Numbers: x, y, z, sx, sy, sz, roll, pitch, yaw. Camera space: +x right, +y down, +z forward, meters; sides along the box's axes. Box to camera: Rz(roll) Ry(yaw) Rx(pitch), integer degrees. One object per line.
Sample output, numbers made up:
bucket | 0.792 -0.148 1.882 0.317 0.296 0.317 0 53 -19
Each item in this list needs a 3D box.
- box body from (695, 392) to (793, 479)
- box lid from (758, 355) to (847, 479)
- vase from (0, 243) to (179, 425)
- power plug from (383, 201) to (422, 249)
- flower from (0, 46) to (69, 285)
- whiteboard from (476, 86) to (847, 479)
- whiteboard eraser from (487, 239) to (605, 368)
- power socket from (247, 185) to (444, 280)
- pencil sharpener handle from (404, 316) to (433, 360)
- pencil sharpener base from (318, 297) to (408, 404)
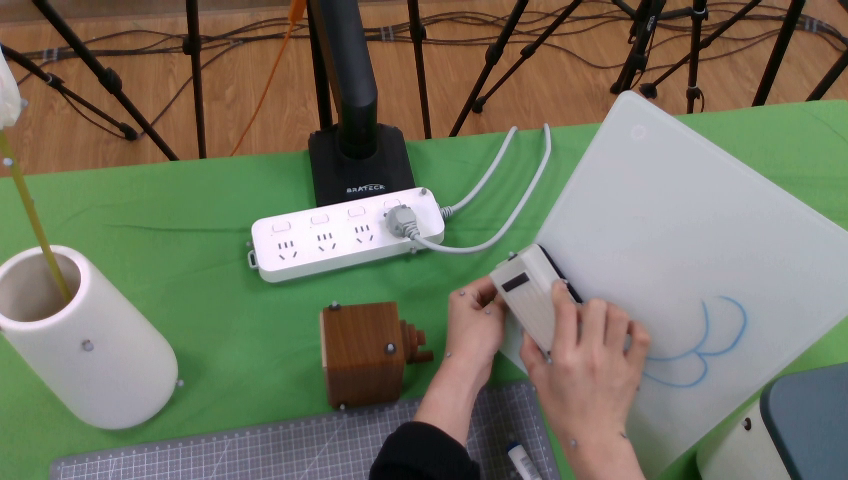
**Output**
box body | 0.410 0.283 0.467 0.255 0.161 0.360 -8 59 -11
box lid | 0.416 0.240 0.406 0.264 0.015 0.367 -7 58 -11
vase | -0.276 0.083 0.502 0.098 0.201 0.097 2 57 -3
power plug | -0.025 -0.010 0.659 0.035 0.053 0.072 -4 59 -7
flower | -0.266 0.022 0.444 0.038 0.365 0.043 -17 42 -24
whiteboard | 0.222 0.034 0.559 0.215 0.307 0.144 41 44 20
whiteboard eraser | 0.111 0.057 0.548 0.112 0.055 0.042 55 40 2
power socket | -0.084 -0.010 0.681 0.227 0.033 0.071 -12 60 -14
pencil sharpener handle | -0.004 0.094 0.564 0.031 0.068 0.035 -5 58 -9
pencil sharpener base | -0.056 0.105 0.566 0.077 0.108 0.061 -5 57 -9
